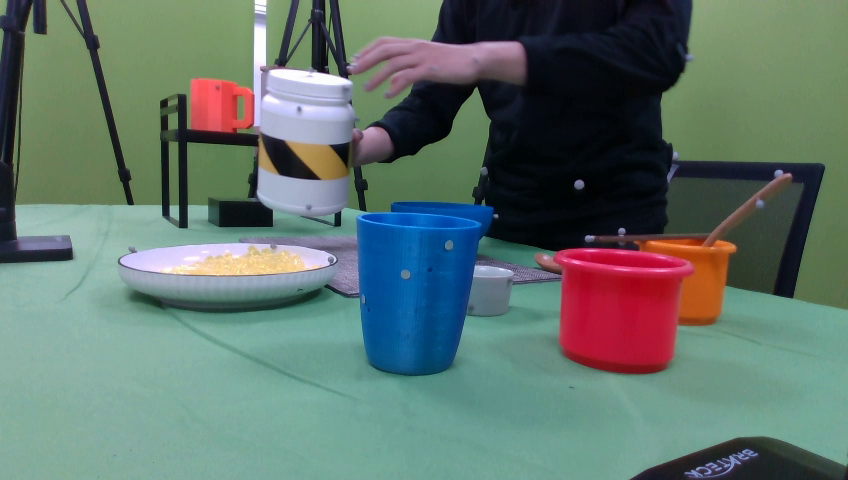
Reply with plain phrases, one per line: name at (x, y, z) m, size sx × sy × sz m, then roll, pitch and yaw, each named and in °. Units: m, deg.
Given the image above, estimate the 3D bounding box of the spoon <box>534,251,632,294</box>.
spoon at (0.193, 0.038, 0.753) m, size 0.042 × 0.021 × 0.193 m, roll 14°, pitch 2°, yaw -20°

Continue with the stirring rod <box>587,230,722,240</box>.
stirring rod at (0.227, -0.005, 0.585) m, size 0.177 × 0.006 × 0.014 m, roll -1°, pitch 7°, yaw -28°

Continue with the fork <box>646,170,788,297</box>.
fork at (0.256, 0.004, 0.543) m, size 0.028 × 0.018 × 0.207 m, roll 2°, pitch -36°, yaw -10°

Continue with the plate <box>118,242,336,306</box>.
plate at (-0.194, 0.033, 0.615) m, size 0.209 × 0.038 × 0.209 m, roll 2°, pitch 7°, yaw 0°

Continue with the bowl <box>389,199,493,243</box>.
bowl at (0.023, -0.015, 0.872) m, size 0.151 × 0.077 × 0.151 m, roll 2°, pitch 7°, yaw 0°

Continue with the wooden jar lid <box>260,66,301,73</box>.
wooden jar lid at (-0.283, -0.339, 1.244) m, size 0.108 × 0.020 × 0.108 m, roll 5°, pitch 9°, yaw -1°

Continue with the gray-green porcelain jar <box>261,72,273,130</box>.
gray-green porcelain jar at (-0.284, -0.276, 1.253) m, size 0.106 × 0.126 × 0.106 m, roll 2°, pitch 8°, yaw 0°

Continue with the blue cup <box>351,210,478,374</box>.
blue cup at (-0.009, 0.034, 0.414) m, size 0.093 × 0.100 × 0.092 m, roll 4°, pitch 8°, yaw 0°

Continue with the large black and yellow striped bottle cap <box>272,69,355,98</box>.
large black and yellow striped bottle cap at (-0.153, -0.220, 0.844) m, size 0.115 × 0.019 × 0.115 m, roll 9°, pitch 22°, yaw -3°

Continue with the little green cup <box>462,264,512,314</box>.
little green cup at (0.053, 0.047, 0.580) m, size 0.061 × 0.038 × 0.061 m, roll 3°, pitch 8°, yaw 0°

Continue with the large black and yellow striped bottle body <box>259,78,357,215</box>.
large black and yellow striped bottle body at (-0.166, -0.142, 0.872) m, size 0.131 × 0.184 × 0.130 m, roll 8°, pitch 20°, yaw -3°

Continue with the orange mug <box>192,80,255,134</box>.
orange mug at (-0.389, -0.257, 1.173) m, size 0.126 × 0.100 × 0.083 m, roll -1°, pitch 7°, yaw 9°
